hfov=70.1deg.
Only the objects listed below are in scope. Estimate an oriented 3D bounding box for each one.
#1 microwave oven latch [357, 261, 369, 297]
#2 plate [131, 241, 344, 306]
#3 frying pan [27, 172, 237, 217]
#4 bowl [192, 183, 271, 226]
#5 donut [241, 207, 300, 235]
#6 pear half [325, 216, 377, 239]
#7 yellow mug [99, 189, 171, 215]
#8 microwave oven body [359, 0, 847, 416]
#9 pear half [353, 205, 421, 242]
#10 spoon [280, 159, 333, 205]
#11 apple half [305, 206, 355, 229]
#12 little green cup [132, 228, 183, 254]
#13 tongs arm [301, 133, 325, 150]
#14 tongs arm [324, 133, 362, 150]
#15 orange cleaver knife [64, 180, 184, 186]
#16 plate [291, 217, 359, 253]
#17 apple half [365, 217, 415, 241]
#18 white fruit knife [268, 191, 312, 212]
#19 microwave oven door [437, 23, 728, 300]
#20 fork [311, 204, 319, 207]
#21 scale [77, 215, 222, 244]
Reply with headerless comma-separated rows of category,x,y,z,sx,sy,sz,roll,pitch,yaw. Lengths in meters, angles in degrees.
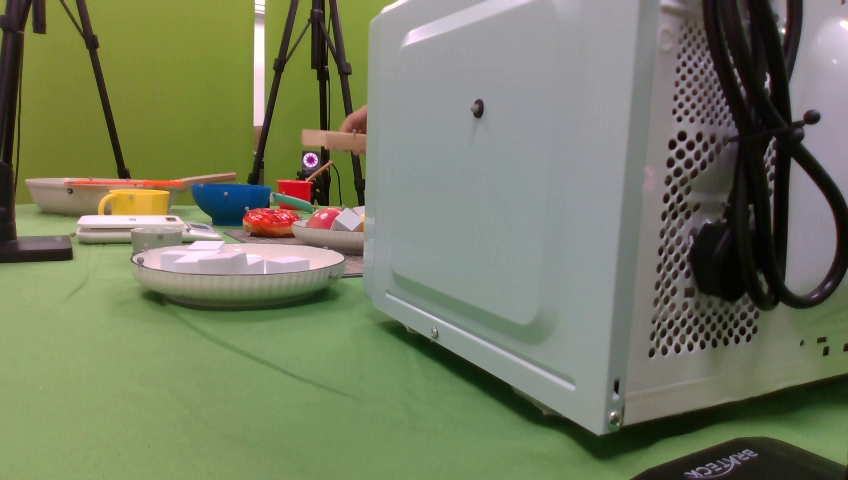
microwave oven latch,-0.019,0.033,0.531,0.079,0.029,0.030,-1,7,-27
plate,-0.187,0.033,0.625,0.208,0.039,0.207,2,7,0
frying pan,-0.624,-0.118,1.387,0.305,0.102,0.490,8,17,32
bowl,-0.382,-0.071,1.202,0.151,0.077,0.151,3,7,0
donut,-0.263,-0.032,1.039,0.099,0.048,0.099,4,10,0
pear half,-0.119,-0.023,0.996,0.088,0.031,0.070,-5,23,-27
yellow mug,-0.519,-0.055,1.080,0.099,0.064,0.131,7,9,26
microwave oven body,0.211,-0.047,0.475,0.444,0.260,0.324,-1,7,-28
pear half,-0.051,-0.024,0.905,0.110,0.056,0.076,1,-2,-38
spoon,-0.317,-0.159,1.640,0.194,0.022,0.041,-49,32,-20
apple half,-0.138,-0.025,0.917,0.081,0.053,0.074,0,10,-43
little green cup,-0.342,0.006,0.779,0.061,0.038,0.061,2,8,0
tongs arm,-0.102,-0.179,1.099,0.028,0.028,0.389,-1,8,26
tongs arm,-0.077,-0.177,1.088,0.050,0.026,0.386,4,10,28
orange cleaver knife,-0.595,-0.114,1.212,0.212,0.012,0.077,-4,6,-41
plate,-0.103,-0.009,0.945,0.209,0.038,0.209,2,7,0
apple half,-0.053,-0.020,0.966,0.081,0.033,0.081,-3,11,1
white fruit knife,-0.364,-0.105,1.464,0.208,0.027,0.016,15,-1,-34
microwave oven door,0.180,-0.073,0.621,0.358,0.243,0.039,-2,8,-29
fork,-0.356,-0.105,1.526,0.208,0.018,0.028,16,-5,-41
scale,-0.434,-0.019,0.963,0.202,0.031,0.148,-1,9,-27
